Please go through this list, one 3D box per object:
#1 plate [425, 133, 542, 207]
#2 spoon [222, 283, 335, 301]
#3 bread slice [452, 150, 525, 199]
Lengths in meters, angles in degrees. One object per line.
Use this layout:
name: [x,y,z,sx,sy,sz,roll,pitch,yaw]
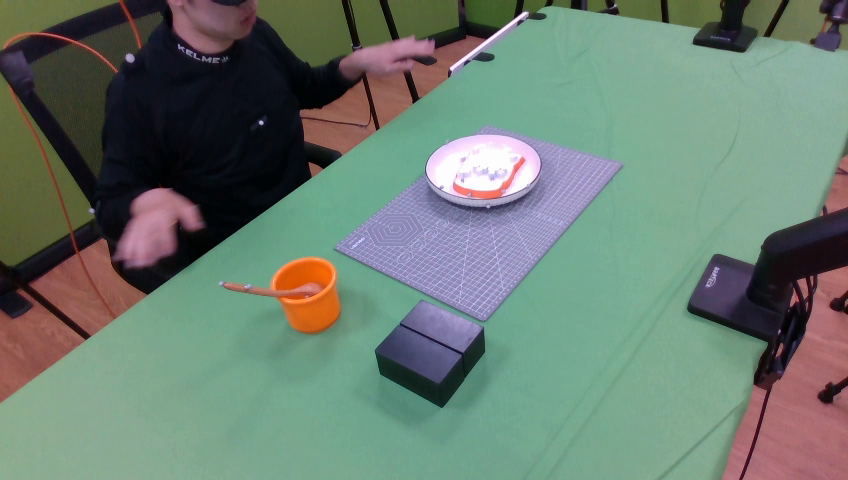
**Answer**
plate: [0.106,-0.121,1.079,0.209,0.038,0.208,-4,41,4]
spoon: [-0.188,0.070,0.810,0.041,0.021,0.195,29,12,33]
bread slice: [0.112,-0.118,1.079,0.104,0.019,0.131,11,43,21]
